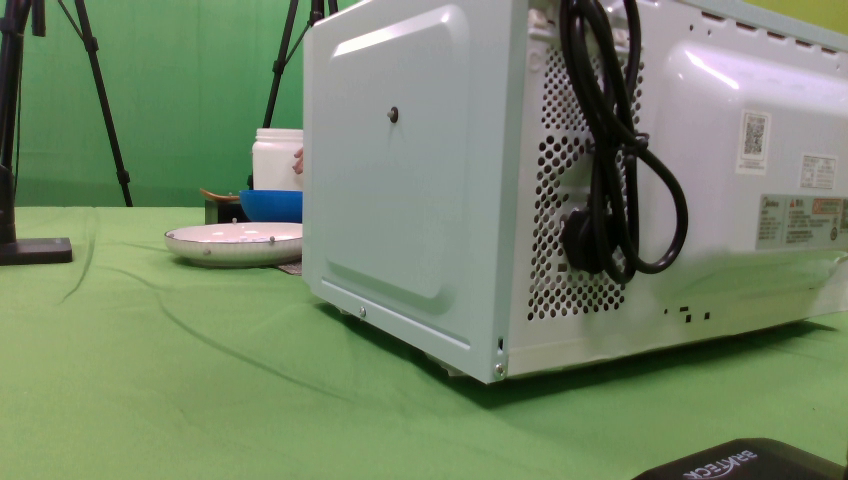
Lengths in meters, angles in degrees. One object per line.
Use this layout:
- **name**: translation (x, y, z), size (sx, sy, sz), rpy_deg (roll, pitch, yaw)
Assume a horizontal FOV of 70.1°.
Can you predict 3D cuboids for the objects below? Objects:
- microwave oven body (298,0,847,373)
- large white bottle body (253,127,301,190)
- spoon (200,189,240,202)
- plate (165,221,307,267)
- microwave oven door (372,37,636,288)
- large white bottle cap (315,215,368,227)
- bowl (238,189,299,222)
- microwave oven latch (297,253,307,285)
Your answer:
- **microwave oven body**: translation (0.151, -0.055, 0.542), size (0.444, 0.260, 0.324), rpy_deg (-2, 7, -33)
- **large white bottle body**: translation (-0.321, -0.164, 1.379), size (0.131, 0.184, 0.130), rpy_deg (1, 12, 0)
- **spoon**: translation (-0.339, -0.080, 1.190), size (0.194, 0.021, 0.041), rpy_deg (5, 1, -19)
- **plate**: translation (-0.241, 0.004, 0.829), size (0.209, 0.038, 0.209), rpy_deg (0, 9, 0)
- **microwave oven door**: translation (0.109, -0.080, 0.686), size (0.358, 0.243, 0.039), rpy_deg (-2, 9, -33)
- **large white bottle cap**: translation (-0.178, -0.041, 1.309), size (0.115, 0.018, 0.115), rpy_deg (2, 7, 0)
- **bowl**: translation (-0.245, -0.046, 1.053), size (0.151, 0.077, 0.151), rpy_deg (3, 8, 0)
- **microwave oven latch**: translation (-0.082, 0.027, 0.582), size (0.079, 0.029, 0.030), rpy_deg (-1, 7, -32)
